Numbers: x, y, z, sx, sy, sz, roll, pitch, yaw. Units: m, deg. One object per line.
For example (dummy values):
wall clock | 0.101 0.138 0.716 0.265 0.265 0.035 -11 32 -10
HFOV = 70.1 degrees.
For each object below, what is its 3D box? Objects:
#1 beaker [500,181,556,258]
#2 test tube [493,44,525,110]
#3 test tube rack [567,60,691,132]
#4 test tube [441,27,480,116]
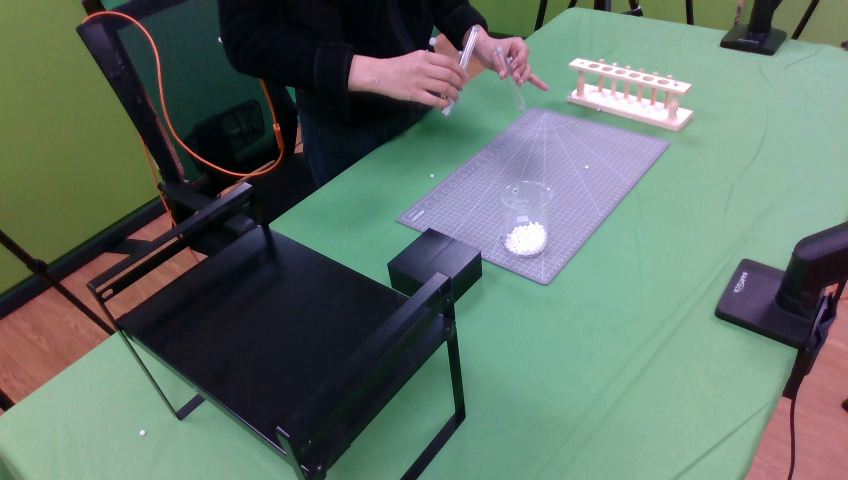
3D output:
beaker | 0.159 -0.030 0.922 0.084 0.100 0.073 -13 41 -8
test tube | 0.157 -0.293 1.096 0.017 0.151 0.017 -15 50 19
test tube rack | 0.411 -0.299 1.217 0.240 0.085 0.067 26 51 34
test tube | 0.058 -0.274 0.988 0.017 0.150 0.017 20 8 -2
